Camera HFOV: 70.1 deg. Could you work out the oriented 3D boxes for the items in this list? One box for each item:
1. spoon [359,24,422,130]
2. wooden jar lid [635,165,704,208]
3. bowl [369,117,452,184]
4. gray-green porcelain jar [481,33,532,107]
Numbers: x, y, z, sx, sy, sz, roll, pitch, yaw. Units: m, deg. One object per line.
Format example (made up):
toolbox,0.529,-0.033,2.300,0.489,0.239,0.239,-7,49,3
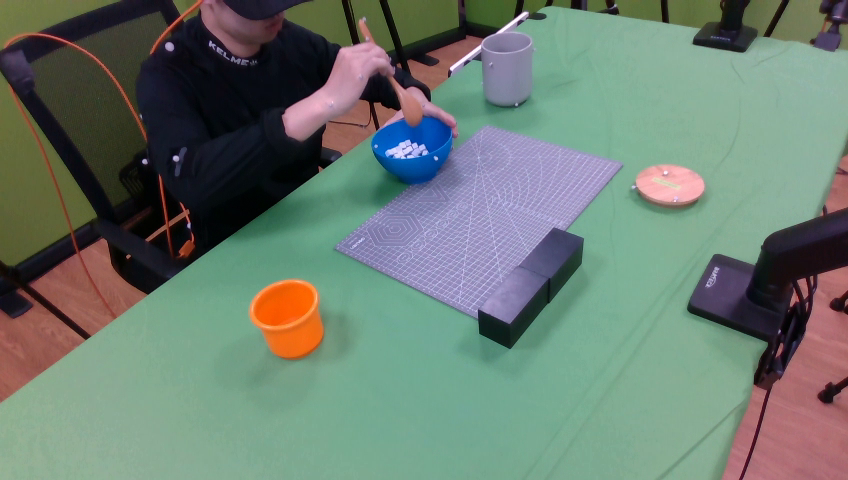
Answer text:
spoon,-0.057,-0.271,1.015,0.042,0.195,0.021,-43,24,-22
wooden jar lid,0.410,-0.089,1.014,0.108,0.021,0.108,-5,42,5
bowl,-0.018,-0.155,1.106,0.151,0.077,0.150,-6,39,5
gray-green porcelain jar,0.175,-0.355,1.278,0.106,0.127,0.105,-4,41,4
